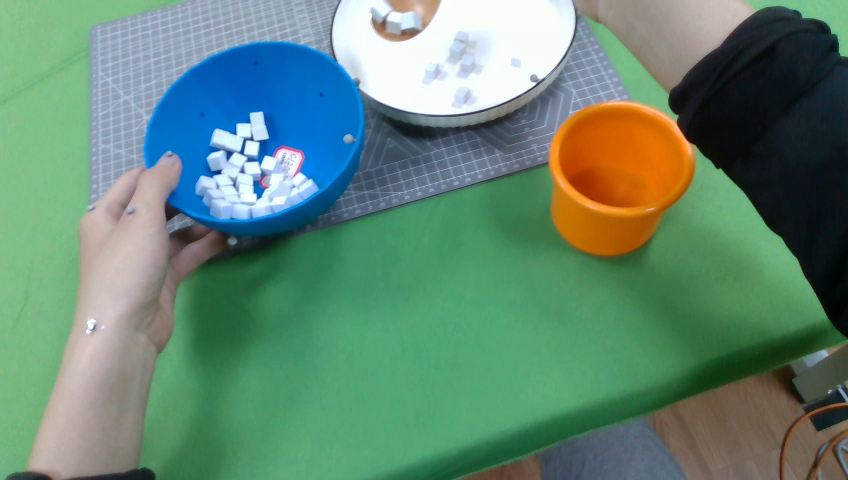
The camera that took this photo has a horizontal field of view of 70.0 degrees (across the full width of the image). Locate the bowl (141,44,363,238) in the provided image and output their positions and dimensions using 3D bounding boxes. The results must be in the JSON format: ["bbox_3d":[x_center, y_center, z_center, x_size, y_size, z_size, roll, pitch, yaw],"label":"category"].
[{"bbox_3d":[-0.113,-0.059,0.443,0.151,0.077,0.150,-2,64,4],"label":"bowl"}]

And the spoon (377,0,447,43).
[{"bbox_3d":[0.039,-0.210,0.409,0.194,0.022,0.041,-45,73,16],"label":"spoon"}]

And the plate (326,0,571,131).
[{"bbox_3d":[0.020,-0.175,0.526,0.209,0.038,0.207,-2,62,5],"label":"plate"}]
